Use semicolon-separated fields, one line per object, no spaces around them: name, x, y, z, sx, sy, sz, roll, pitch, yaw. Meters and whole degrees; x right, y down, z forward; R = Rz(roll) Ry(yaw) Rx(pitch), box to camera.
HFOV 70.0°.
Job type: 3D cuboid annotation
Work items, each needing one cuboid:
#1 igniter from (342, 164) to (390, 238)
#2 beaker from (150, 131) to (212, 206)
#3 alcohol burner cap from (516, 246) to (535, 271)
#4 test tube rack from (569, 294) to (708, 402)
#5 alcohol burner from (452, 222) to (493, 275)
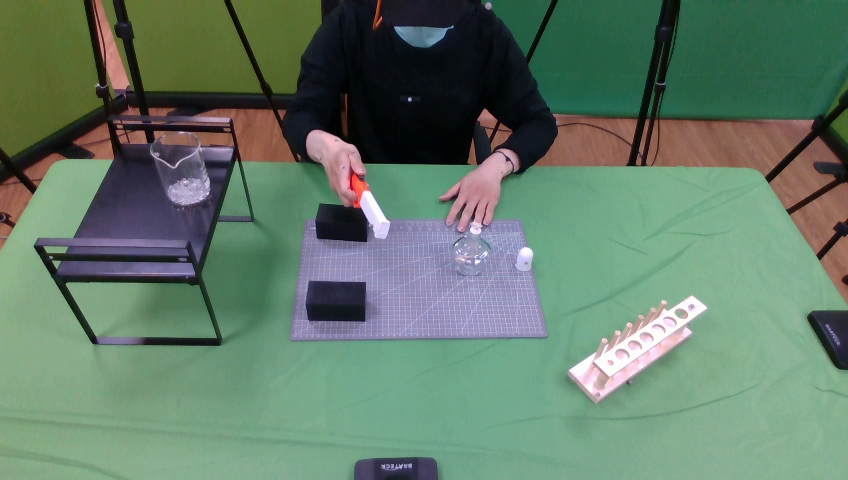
igniter;-0.106;-0.076;1.055;0.025;0.057;0.275;10;22;-24
beaker;-0.385;-0.110;0.969;0.074;0.101;0.083;-6;48;-9
alcohol burner cap;0.195;0.032;1.158;0.034;0.048;0.033;3;45;-3
test tube rack;0.360;0.167;1.015;0.242;0.085;0.066;-25;52;-25
alcohol burner;0.091;0.009;1.124;0.078;0.119;0.077;2;48;-2
